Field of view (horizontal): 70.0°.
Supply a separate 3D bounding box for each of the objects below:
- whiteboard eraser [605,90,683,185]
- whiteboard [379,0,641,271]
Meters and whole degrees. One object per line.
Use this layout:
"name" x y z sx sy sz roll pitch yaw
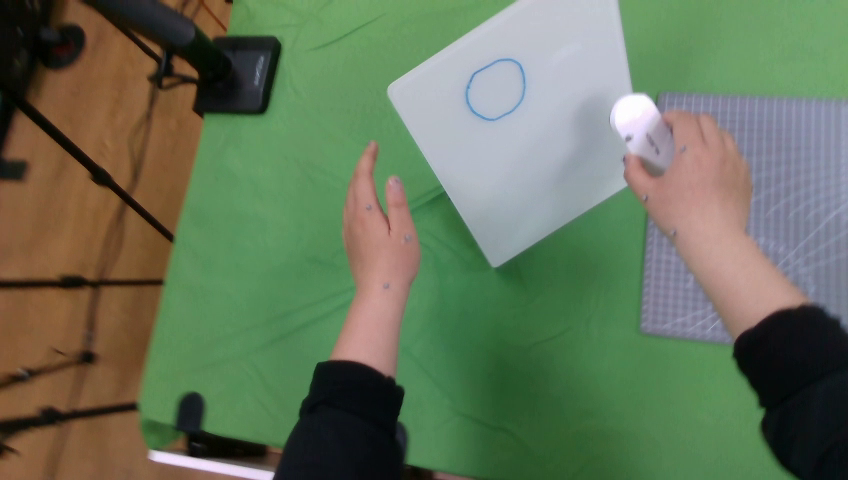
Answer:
"whiteboard eraser" 0.205 -0.095 0.564 0.041 0.018 0.102 -41 110 1
"whiteboard" 0.088 -0.147 0.655 0.217 0.309 0.142 -33 49 4
